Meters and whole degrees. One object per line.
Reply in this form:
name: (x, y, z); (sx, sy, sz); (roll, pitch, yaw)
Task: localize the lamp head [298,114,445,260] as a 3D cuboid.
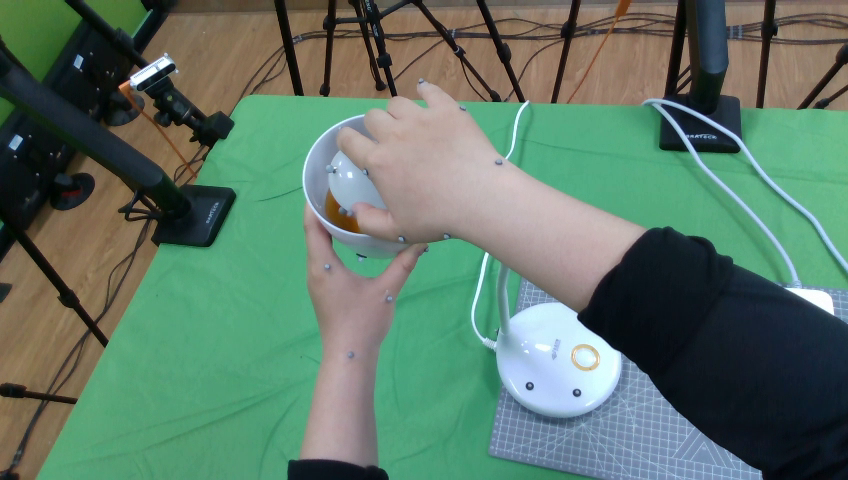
lamp head: (-0.038, -0.031, 0.528); (0.112, 0.124, 0.111); (-3, 66, 7)

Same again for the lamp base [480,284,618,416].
lamp base: (0.144, 0.111, 0.739); (0.178, 0.182, 0.159); (0, 57, 16)

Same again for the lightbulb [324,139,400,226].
lightbulb: (-0.047, -0.040, 0.499); (0.059, 0.108, 0.059); (-1, 69, 4)

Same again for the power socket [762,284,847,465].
power socket: (0.456, 0.152, 0.732); (0.072, 0.033, 0.225); (5, 58, 15)
